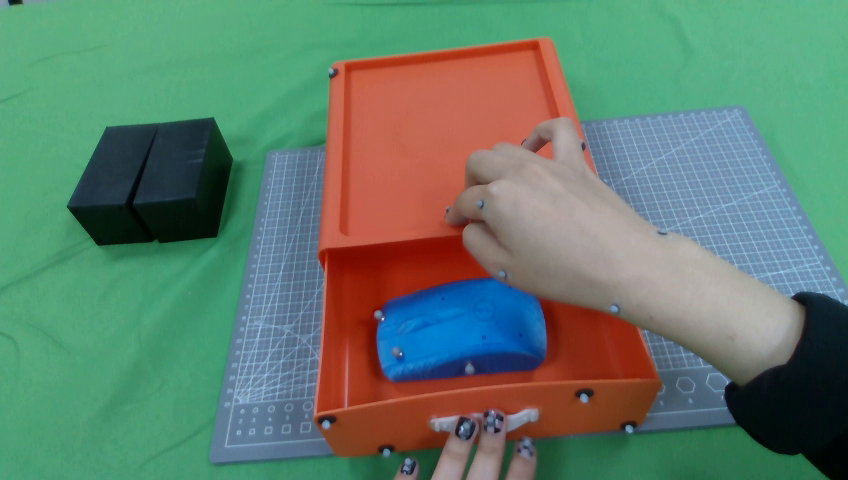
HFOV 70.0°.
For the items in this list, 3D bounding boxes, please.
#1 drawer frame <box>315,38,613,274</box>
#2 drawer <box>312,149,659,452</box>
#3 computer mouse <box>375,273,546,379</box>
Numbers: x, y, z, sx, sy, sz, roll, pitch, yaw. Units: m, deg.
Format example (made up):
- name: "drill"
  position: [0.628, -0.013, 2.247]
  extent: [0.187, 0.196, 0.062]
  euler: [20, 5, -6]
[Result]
- name: "drawer frame"
  position: [0.022, -0.061, 0.489]
  extent: [0.202, 0.083, 0.211]
  euler: [-7, 50, 2]
- name: "drawer"
  position: [0.030, 0.029, 0.420]
  extent: [0.194, 0.074, 0.209]
  euler: [-7, 51, 2]
- name: "computer mouse"
  position: [0.023, 0.058, 0.413]
  extent: [0.117, 0.041, 0.062]
  euler: [-8, 57, 7]
